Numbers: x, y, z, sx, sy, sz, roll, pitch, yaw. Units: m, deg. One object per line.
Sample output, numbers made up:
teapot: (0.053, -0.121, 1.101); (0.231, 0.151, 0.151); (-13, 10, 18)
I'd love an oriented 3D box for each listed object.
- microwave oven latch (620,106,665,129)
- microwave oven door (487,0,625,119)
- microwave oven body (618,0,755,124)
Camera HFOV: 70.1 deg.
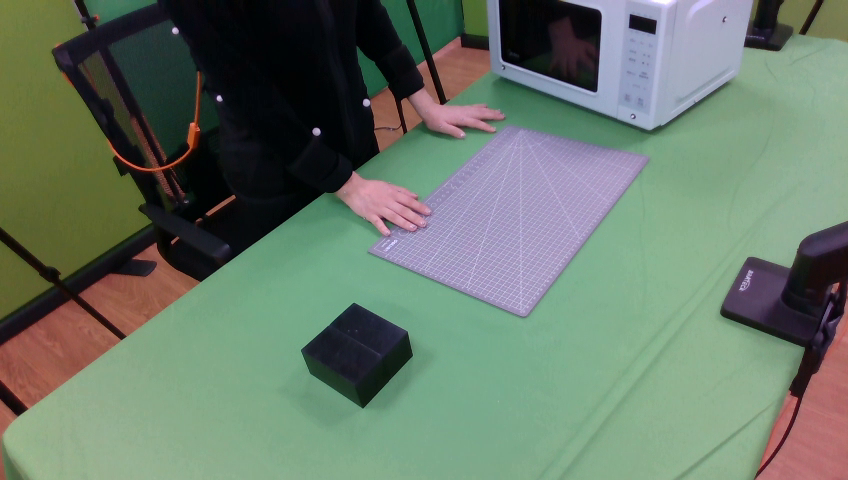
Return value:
microwave oven latch: (0.413, -0.237, 1.146); (0.030, 0.029, 0.078); (-32, 44, -23)
microwave oven door: (0.262, -0.409, 1.221); (0.039, 0.245, 0.352); (-33, 45, -25)
microwave oven body: (0.402, -0.458, 1.259); (0.327, 0.261, 0.437); (-33, 45, -24)
